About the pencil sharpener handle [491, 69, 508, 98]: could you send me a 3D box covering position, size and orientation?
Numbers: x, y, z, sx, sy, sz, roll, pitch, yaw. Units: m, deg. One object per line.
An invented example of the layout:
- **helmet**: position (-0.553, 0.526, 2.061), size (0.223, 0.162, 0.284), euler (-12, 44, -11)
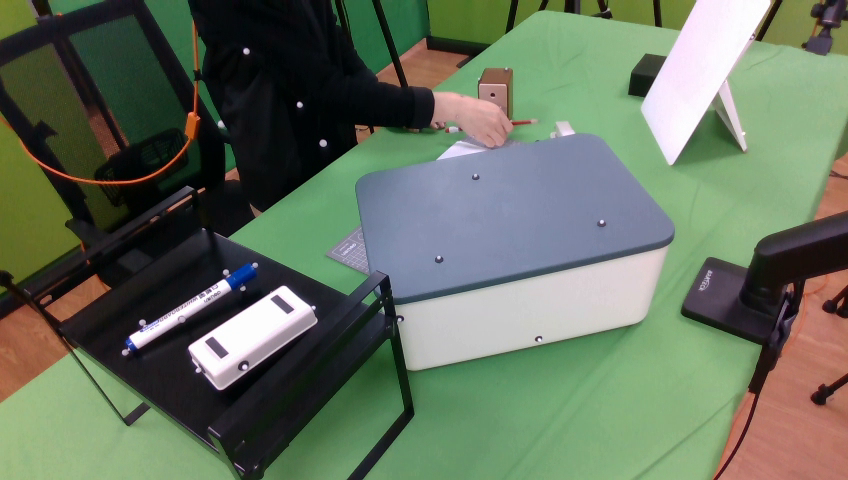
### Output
- **pencil sharpener handle**: position (0.155, -0.329, 1.254), size (0.036, 0.068, 0.030), euler (17, 43, 3)

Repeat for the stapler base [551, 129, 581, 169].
- **stapler base**: position (0.268, -0.178, 1.142), size (0.041, 0.024, 0.130), euler (0, 37, 3)

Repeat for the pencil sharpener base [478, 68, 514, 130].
- **pencil sharpener base**: position (0.148, -0.286, 1.224), size (0.061, 0.107, 0.076), euler (5, 41, 15)

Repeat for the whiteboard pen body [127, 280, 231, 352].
- **whiteboard pen body**: position (-0.248, 0.072, 0.645), size (0.141, 0.017, 0.017), euler (-35, 47, -23)

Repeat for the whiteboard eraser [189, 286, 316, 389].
- **whiteboard eraser**: position (-0.166, 0.096, 0.593), size (0.113, 0.042, 0.055), euler (-36, 47, -29)

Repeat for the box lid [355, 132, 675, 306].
- **box lid**: position (0.103, -0.042, 0.785), size (0.372, 0.015, 0.261), euler (-12, 41, -5)

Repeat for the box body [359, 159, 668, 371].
- **box body**: position (0.108, 0.014, 0.833), size (0.365, 0.161, 0.252), euler (-11, 41, -5)

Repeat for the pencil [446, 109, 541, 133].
- **pencil**: position (0.131, -0.231, 1.165), size (0.193, 0.012, 0.012), euler (-8, 37, 24)

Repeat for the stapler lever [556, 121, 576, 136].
- **stapler lever**: position (0.266, -0.198, 1.128), size (0.027, 0.040, 0.117), euler (0, 38, 3)

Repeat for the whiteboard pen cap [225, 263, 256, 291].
- **whiteboard pen cap**: position (-0.204, 0.041, 0.668), size (0.033, 0.018, 0.018), euler (-36, 48, -22)

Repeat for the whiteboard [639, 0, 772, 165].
- **whiteboard**: position (0.543, -0.298, 1.076), size (0.144, 0.305, 0.216), euler (12, 40, -7)
